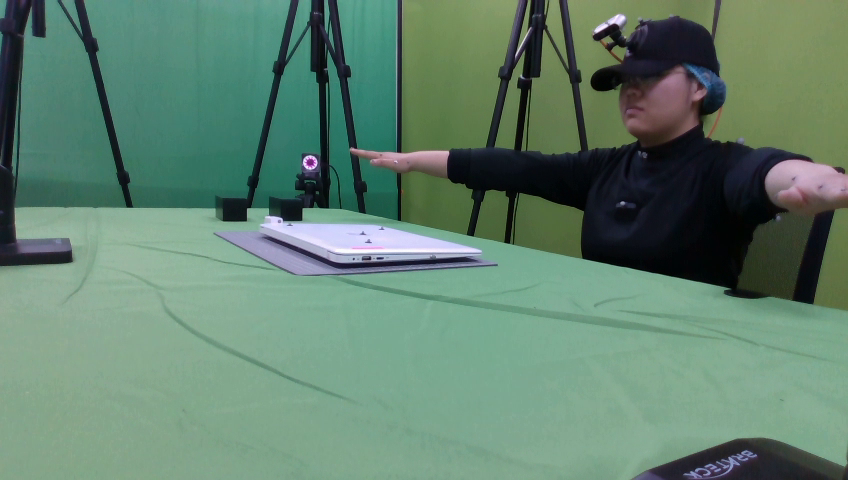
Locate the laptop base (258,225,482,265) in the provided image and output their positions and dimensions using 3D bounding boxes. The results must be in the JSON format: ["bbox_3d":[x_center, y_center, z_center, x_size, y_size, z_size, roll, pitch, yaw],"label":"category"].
[{"bbox_3d":[-0.102,0.006,0.962,0.237,0.023,0.352,2,6,-32],"label":"laptop base"}]

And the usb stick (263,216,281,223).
[{"bbox_3d":[-0.269,-0.028,1.080,0.021,0.027,0.059,-2,11,-30],"label":"usb stick"}]

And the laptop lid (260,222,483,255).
[{"bbox_3d":[-0.099,-0.005,0.962,0.243,0.013,0.355,1,7,-30],"label":"laptop lid"}]
